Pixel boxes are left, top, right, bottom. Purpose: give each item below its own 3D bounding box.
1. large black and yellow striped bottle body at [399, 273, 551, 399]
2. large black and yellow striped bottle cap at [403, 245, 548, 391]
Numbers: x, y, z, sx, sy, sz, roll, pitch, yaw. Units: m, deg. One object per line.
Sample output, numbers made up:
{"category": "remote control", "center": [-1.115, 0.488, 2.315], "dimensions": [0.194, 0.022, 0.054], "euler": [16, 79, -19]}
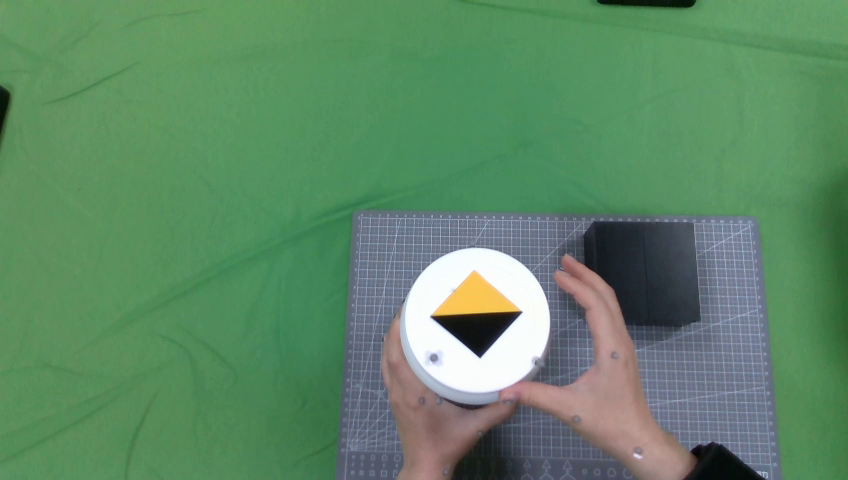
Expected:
{"category": "large black and yellow striped bottle body", "center": [0.046, 0.080, 0.562], "dimensions": [0.131, 0.185, 0.130], "euler": [-1, 76, 3]}
{"category": "large black and yellow striped bottle cap", "center": [0.040, 0.061, 0.478], "dimensions": [0.115, 0.019, 0.114], "euler": [0, 75, 2]}
